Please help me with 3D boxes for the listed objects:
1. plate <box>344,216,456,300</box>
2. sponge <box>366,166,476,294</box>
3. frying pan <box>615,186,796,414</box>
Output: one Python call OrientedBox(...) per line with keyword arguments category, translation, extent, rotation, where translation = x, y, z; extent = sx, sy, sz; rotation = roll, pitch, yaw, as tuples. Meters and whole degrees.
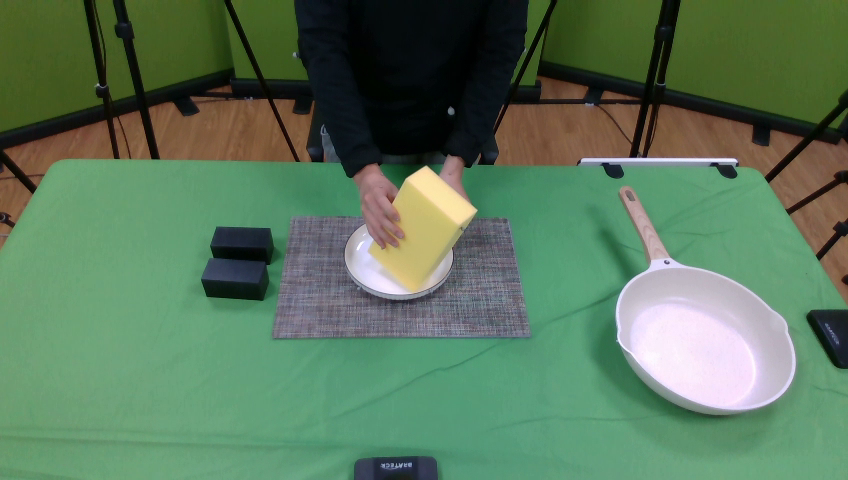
OrientedBox(category="plate", translation=(-0.045, 0.035, 1.146), extent=(0.208, 0.039, 0.206), rotation=(2, 46, -2))
OrientedBox(category="sponge", translation=(-0.011, -0.013, 1.053), extent=(0.118, 0.207, 0.061), rotation=(43, 46, 9))
OrientedBox(category="frying pan", translation=(0.449, 0.087, 1.092), extent=(0.307, 0.103, 0.484), rotation=(-4, 55, -10))
